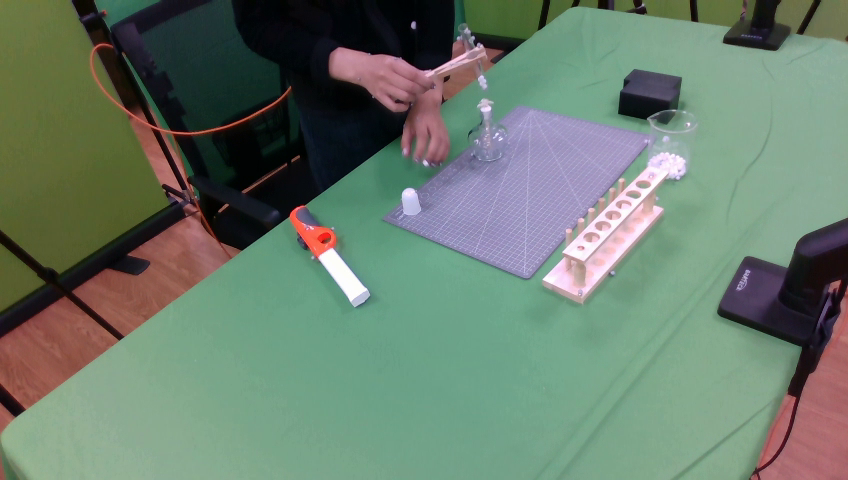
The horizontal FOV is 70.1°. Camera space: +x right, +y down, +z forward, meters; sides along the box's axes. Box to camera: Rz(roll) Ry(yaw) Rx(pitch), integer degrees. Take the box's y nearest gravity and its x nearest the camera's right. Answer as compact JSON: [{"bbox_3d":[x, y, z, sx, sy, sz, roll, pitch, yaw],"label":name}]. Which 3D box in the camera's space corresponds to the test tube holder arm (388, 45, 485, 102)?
[{"bbox_3d":[0.020,-0.277,1.011,0.178,0.015,0.013,-24,64,13],"label":"test tube holder arm"}]

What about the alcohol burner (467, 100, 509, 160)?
[{"bbox_3d":[0.118,-0.210,1.130,0.078,0.119,0.077,-5,42,5],"label":"alcohol burner"}]

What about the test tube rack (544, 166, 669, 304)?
[{"bbox_3d":[0.274,-0.018,0.903,0.066,0.085,0.243,26,51,35],"label":"test tube rack"}]

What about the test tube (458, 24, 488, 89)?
[{"bbox_3d":[0.082,-0.298,0.997,0.017,0.151,0.017,-8,64,17],"label":"test tube"}]

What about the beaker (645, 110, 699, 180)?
[{"bbox_3d":[0.417,-0.160,1.032,0.083,0.101,0.074,25,51,35],"label":"beaker"}]

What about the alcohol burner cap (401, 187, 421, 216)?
[{"bbox_3d":[-0.025,-0.070,1.048,0.034,0.048,0.033,-5,41,5],"label":"alcohol burner cap"}]

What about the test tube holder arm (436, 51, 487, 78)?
[{"bbox_3d":[0.061,-0.288,0.998,0.087,0.015,0.010,-16,66,17],"label":"test tube holder arm"}]

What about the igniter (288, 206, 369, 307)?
[{"bbox_3d":[-0.163,0.017,0.986,0.057,0.025,0.274,-33,45,-12],"label":"igniter"}]
